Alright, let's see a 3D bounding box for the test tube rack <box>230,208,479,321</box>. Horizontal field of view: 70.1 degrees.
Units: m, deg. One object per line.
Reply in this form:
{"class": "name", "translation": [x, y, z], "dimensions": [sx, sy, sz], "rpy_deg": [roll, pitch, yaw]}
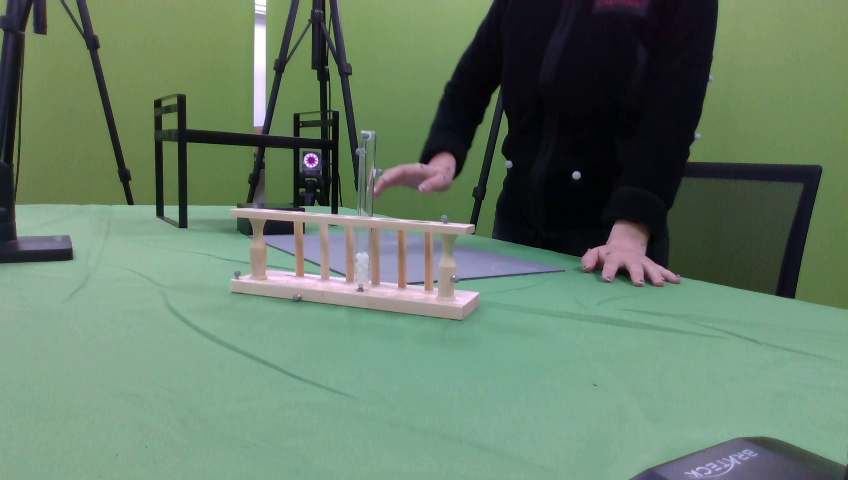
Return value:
{"class": "test tube rack", "translation": [-0.069, 0.017, 0.598], "dimensions": [0.242, 0.085, 0.067], "rpy_deg": [5, 8, 18]}

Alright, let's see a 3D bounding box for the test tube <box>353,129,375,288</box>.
{"class": "test tube", "translation": [-0.057, -0.028, 0.570], "dimensions": [0.017, 0.150, 0.017], "rpy_deg": [3, 11, 0]}
